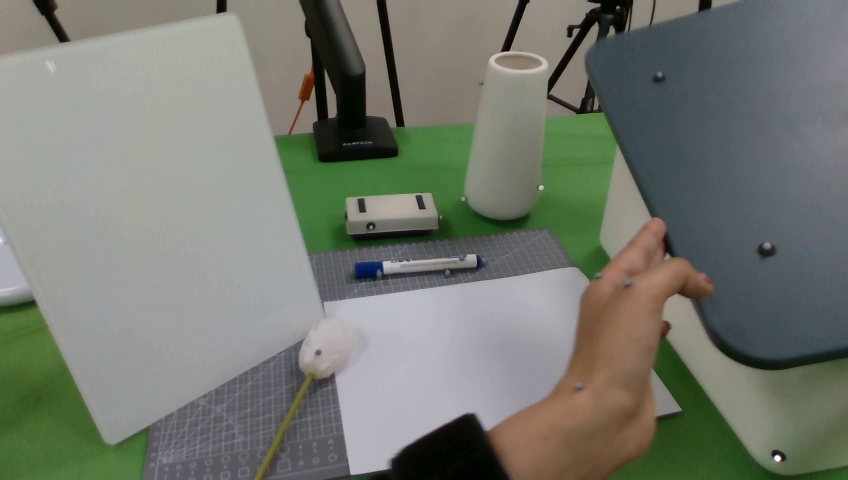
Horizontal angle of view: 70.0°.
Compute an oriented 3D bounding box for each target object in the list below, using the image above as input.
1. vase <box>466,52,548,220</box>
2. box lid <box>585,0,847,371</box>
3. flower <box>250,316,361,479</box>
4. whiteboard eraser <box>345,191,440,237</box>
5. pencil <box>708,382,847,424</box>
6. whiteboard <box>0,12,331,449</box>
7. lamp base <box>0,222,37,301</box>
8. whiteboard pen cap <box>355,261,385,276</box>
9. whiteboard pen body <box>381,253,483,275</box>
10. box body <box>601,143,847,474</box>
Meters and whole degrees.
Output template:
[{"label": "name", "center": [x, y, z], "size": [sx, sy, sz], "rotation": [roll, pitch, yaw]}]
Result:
[{"label": "vase", "center": [0.107, -0.125, 0.754], "size": [0.098, 0.201, 0.097], "rotation": [3, 36, -2]}, {"label": "box lid", "center": [0.285, -0.082, 0.445], "size": [0.263, 0.015, 0.367], "rotation": [-14, 45, 9]}, {"label": "flower", "center": [-0.133, 0.192, 0.458], "size": [0.044, 0.038, 0.359], "rotation": [17, 43, 9]}, {"label": "whiteboard eraser", "center": [-0.040, -0.031, 0.749], "size": [0.113, 0.042, 0.055], "rotation": [-5, 35, -10]}, {"label": "pencil", "center": [0.356, 0.155, 0.542], "size": [0.193, 0.012, 0.012], "rotation": [12, 37, 11]}, {"label": "whiteboard", "center": [-0.244, -0.021, 0.544], "size": [0.217, 0.307, 0.142], "rotation": [-27, 26, -33]}, {"label": "lamp base", "center": [-0.449, -0.053, 0.631], "size": [0.178, 0.182, 0.160], "rotation": [18, 39, 23]}, {"label": "whiteboard pen cap", "center": [-0.060, 0.032, 0.678], "size": [0.033, 0.018, 0.018], "rotation": [-2, 36, -11]}, {"label": "whiteboard pen body", "center": [-0.001, 0.028, 0.689], "size": [0.141, 0.017, 0.017], "rotation": [-5, 37, -10]}, {"label": "box body", "center": [0.363, 0.026, 0.597], "size": [0.255, 0.162, 0.360], "rotation": [-6, 37, -10]}]
